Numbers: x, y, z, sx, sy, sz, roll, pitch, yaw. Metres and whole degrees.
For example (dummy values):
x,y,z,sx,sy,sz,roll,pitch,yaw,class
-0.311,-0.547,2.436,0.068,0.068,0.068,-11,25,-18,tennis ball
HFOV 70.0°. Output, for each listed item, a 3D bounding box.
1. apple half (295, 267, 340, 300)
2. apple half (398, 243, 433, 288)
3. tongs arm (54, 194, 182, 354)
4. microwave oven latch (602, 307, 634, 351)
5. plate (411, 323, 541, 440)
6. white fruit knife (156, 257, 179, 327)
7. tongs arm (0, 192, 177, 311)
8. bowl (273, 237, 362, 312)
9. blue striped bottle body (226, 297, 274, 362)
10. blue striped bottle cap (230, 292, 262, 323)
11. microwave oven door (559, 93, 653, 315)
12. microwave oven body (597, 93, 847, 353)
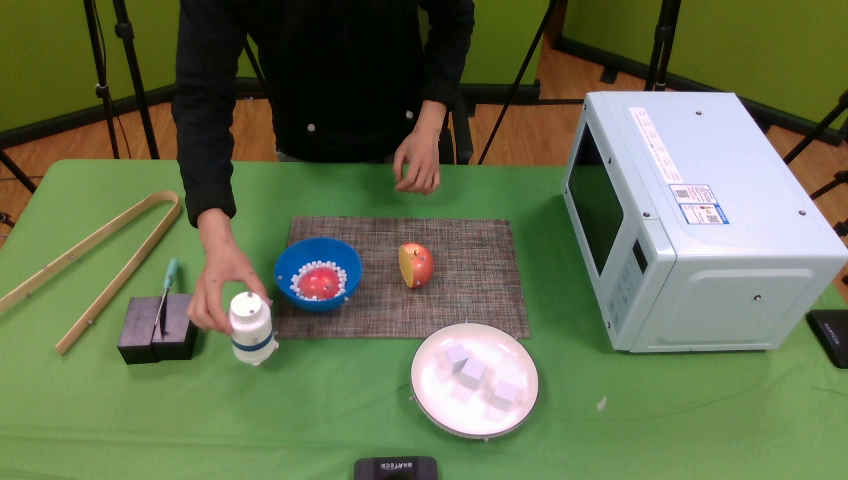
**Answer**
x,y,z,sx,sy,sz,roll,pitch,yaw,class
-0.187,0.071,1.067,0.081,0.033,0.081,3,46,-3,apple half
-0.012,0.046,1.115,0.053,0.075,0.080,-11,44,-20,apple half
-0.543,0.048,1.107,0.028,0.028,0.385,11,45,10,tongs arm
0.332,0.153,1.044,0.030,0.029,0.078,-1,45,-4,microwave oven latch
0.082,0.228,0.976,0.208,0.039,0.206,2,45,-2,plate
-0.440,0.085,1.037,0.016,0.027,0.206,10,26,-19,white fruit knife
-0.618,0.019,1.124,0.050,0.026,0.384,24,47,16,tongs arm
-0.185,0.074,1.070,0.151,0.077,0.150,3,46,-3,bowl
-0.264,0.130,0.920,0.063,0.121,0.062,4,49,-5,blue striped bottle body
-0.259,0.097,0.881,0.044,0.021,0.044,6,45,-6,blue striped bottle cap
0.327,-0.074,1.123,0.039,0.245,0.353,-1,46,-5,microwave oven door
0.475,-0.041,1.109,0.326,0.261,0.438,-1,45,-4,microwave oven body
